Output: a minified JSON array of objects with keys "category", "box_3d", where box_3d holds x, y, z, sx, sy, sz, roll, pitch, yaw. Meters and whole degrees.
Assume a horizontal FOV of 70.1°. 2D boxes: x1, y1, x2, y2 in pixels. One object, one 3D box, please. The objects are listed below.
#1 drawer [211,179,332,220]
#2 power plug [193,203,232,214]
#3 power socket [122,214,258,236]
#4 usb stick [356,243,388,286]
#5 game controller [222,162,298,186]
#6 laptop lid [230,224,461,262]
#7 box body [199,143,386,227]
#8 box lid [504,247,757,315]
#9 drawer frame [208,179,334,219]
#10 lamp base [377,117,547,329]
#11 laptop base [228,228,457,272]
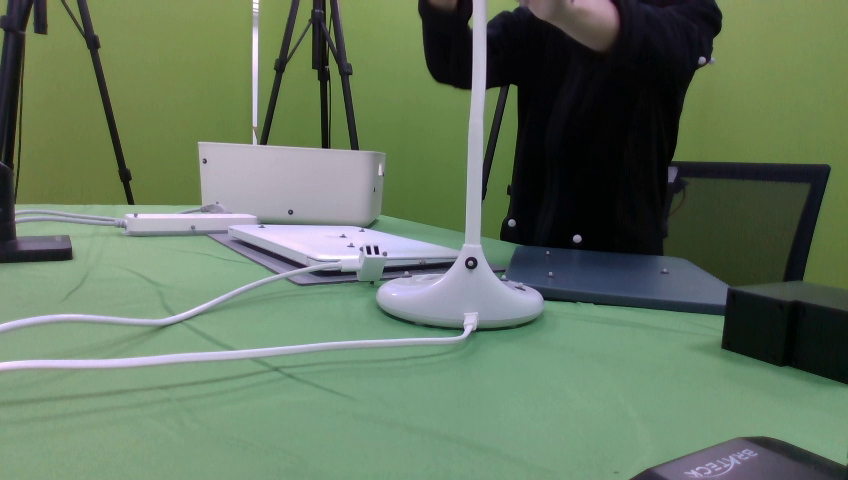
[{"category":"drawer","box_3d":[-0.328,-0.095,1.332,0.212,0.073,0.194,5,8,6]},{"category":"power plug","box_3d":[-0.394,-0.042,1.139,0.072,0.052,0.035,-14,1,31]},{"category":"power socket","box_3d":[-0.398,-0.028,1.049,0.228,0.032,0.072,-3,8,-34]},{"category":"usb stick","box_3d":[-0.058,0.029,0.658,0.027,0.059,0.021,-5,52,-18]},{"category":"game controller","box_3d":[-0.357,-0.143,1.322,0.156,0.051,0.097,1,2,-16]},{"category":"laptop lid","box_3d":[-0.120,0.000,0.889,0.243,0.013,0.355,1,7,-33]},{"category":"box body","box_3d":[-0.276,-0.124,1.335,0.364,0.160,0.254,3,7,1]},{"category":"box lid","box_3d":[0.244,0.044,0.793,0.263,0.015,0.372,4,7,11]},{"category":"drawer frame","box_3d":[-0.326,-0.093,1.328,0.213,0.082,0.202,-1,5,6]},{"category":"lamp base","box_3d":[0.041,-0.019,0.552,0.161,0.180,0.179,1,10,-10]},{"category":"laptop base","box_3d":[-0.122,0.012,0.889,0.237,0.023,0.352,2,6,-35]}]
